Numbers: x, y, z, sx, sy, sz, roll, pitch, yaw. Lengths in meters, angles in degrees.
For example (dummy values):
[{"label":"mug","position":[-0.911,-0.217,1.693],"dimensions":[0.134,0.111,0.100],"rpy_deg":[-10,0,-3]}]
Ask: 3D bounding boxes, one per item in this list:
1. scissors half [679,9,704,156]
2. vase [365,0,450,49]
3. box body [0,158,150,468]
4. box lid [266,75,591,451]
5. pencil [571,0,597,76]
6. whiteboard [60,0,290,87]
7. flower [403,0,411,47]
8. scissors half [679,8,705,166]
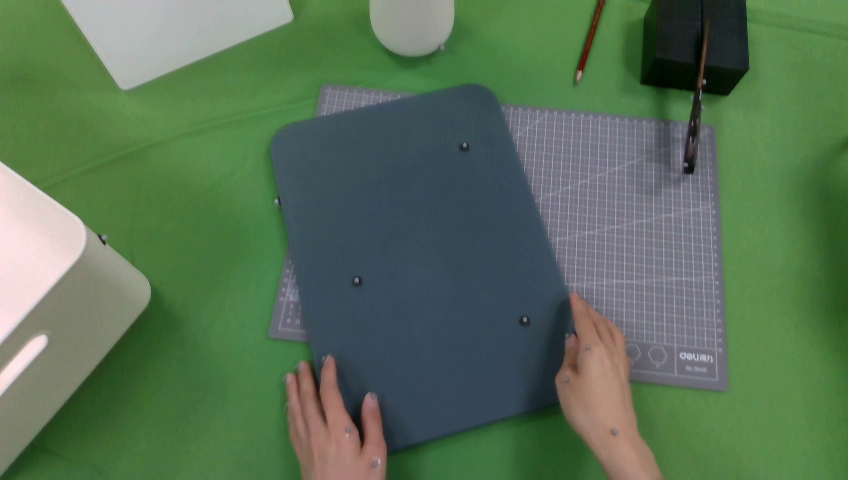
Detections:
[{"label":"scissors half","position":[0.285,-0.170,0.638],"dimensions":[0.013,0.040,0.174],"rpy_deg":[8,72,22]},{"label":"vase","position":[-0.020,-0.295,0.634],"dimensions":[0.098,0.201,0.097],"rpy_deg":[0,69,1]},{"label":"box body","position":[-0.470,0.020,0.534],"dimensions":[0.363,0.161,0.253],"rpy_deg":[32,73,10]},{"label":"box lid","position":[-0.006,0.002,0.626],"dimensions":[0.263,0.015,0.369],"rpy_deg":[-15,72,-6]},{"label":"pencil","position":[0.202,-0.277,0.730],"dimensions":[0.012,0.012,0.193],"rpy_deg":[18,72,6]},{"label":"whiteboard","position":[-0.308,-0.360,0.629],"dimensions":[0.217,0.308,0.142],"rpy_deg":[-27,53,-9]},{"label":"flower","position":[-0.025,-0.337,0.561],"dimensions":[0.044,0.365,0.038],"rpy_deg":[1,53,3]},{"label":"scissors half","position":[0.293,-0.166,0.656],"dimensions":[0.012,0.040,0.175],"rpy_deg":[7,89,27]}]
